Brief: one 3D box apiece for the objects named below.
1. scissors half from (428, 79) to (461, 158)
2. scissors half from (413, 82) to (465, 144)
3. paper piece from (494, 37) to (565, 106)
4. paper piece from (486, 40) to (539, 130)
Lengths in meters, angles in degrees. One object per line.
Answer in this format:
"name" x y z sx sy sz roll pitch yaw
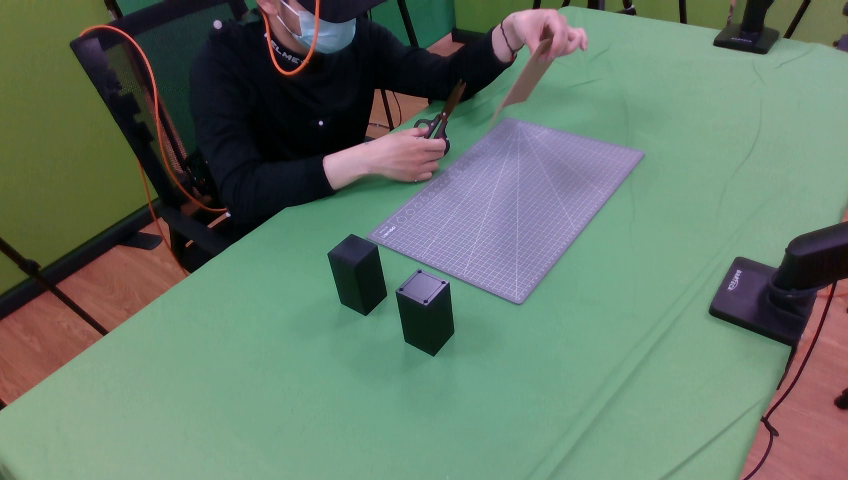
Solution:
"scissors half" 0.040 -0.213 1.079 0.040 0.175 0.013 37 49 18
"scissors half" 0.025 -0.228 1.082 0.040 0.174 0.013 48 50 -3
"paper piece" 0.189 -0.297 1.067 0.008 0.136 0.139 44 35 10
"paper piece" 0.139 -0.245 0.952 0.004 0.135 0.135 31 33 -1
